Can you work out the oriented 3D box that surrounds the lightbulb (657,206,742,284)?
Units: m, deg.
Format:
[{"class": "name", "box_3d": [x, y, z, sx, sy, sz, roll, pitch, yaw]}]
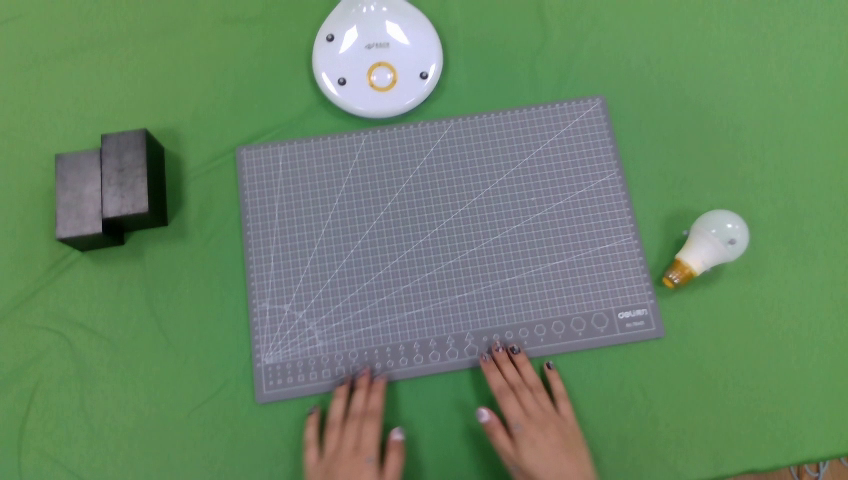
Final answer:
[{"class": "lightbulb", "box_3d": [0.303, 0.009, 0.676, 0.107, 0.060, 0.059, -44, 79, 5]}]

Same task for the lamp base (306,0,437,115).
[{"class": "lamp base", "box_3d": [-0.068, -0.259, 0.676, 0.161, 0.181, 0.178, -17, 73, -5]}]
